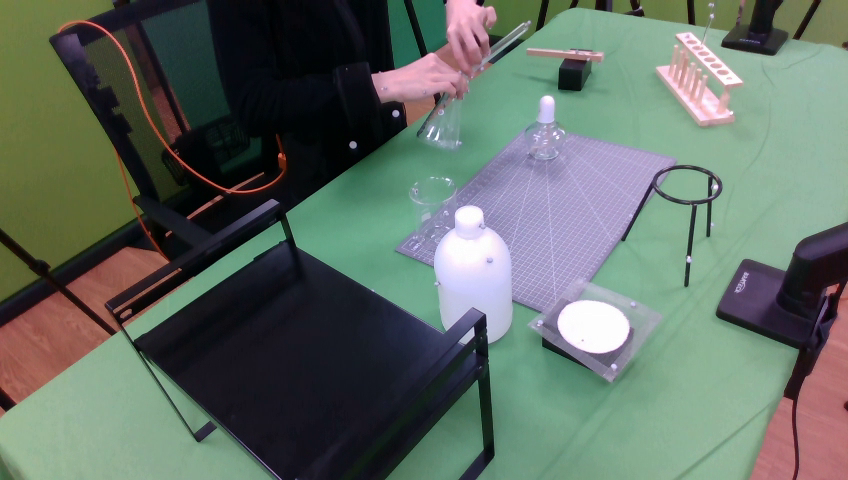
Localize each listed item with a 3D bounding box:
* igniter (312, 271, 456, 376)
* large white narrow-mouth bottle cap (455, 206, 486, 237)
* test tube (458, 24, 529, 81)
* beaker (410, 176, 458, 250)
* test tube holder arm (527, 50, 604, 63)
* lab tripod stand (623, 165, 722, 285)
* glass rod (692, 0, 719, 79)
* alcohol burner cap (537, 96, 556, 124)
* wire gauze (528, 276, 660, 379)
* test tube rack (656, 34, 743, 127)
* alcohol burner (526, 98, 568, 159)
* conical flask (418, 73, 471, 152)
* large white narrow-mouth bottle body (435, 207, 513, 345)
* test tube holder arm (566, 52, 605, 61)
[{"bbox_3d":[-0.068,0.111,0.859,0.274,0.025,0.057,27,61,34],"label":"igniter"},{"bbox_3d":[0.057,-0.023,0.734,0.038,0.024,0.037,-4,40,4],"label":"large white narrow-mouth bottle cap"},{"bbox_3d":[0.119,-0.316,1.016,0.150,0.017,0.017,-38,46,-8],"label":"test tube"},{"bbox_3d":[0.022,-0.041,0.964,0.073,0.101,0.084,28,51,35],"label":"beaker"},{"bbox_3d":[0.312,-0.409,1.344,0.177,0.015,0.013,15,38,30],"label":"test tube holder arm"},{"bbox_3d":[0.365,-0.030,0.875,0.148,0.132,0.147,-6,41,6],"label":"lab tripod stand"},{"bbox_3d":[0.561,-0.401,1.214,0.008,0.200,0.008,-1,48,2],"label":"glass rod"},{"bbox_3d":[0.223,-0.238,1.095,0.034,0.048,0.033,-2,37,2],"label":"alcohol burner cap"},{"bbox_3d":[0.214,0.103,0.763,0.124,0.011,0.122,30,52,35],"label":"wire gauze"},{"bbox_3d":[0.553,-0.330,1.233,0.067,0.085,0.241,-7,40,2],"label":"test tube rack"},{"bbox_3d":[0.228,-0.210,1.118,0.078,0.119,0.077,-5,43,5],"label":"alcohol burner"},{"bbox_3d":[0.042,-0.216,1.020,0.075,0.122,0.075,19,11,-3],"label":"conical flask"},{"bbox_3d":[0.065,0.041,0.791,0.102,0.195,0.101,-4,40,4],"label":"large white narrow-mouth bottle body"},{"bbox_3d":[0.352,-0.402,1.325,0.087,0.015,0.010,15,39,30],"label":"test tube holder arm"}]
